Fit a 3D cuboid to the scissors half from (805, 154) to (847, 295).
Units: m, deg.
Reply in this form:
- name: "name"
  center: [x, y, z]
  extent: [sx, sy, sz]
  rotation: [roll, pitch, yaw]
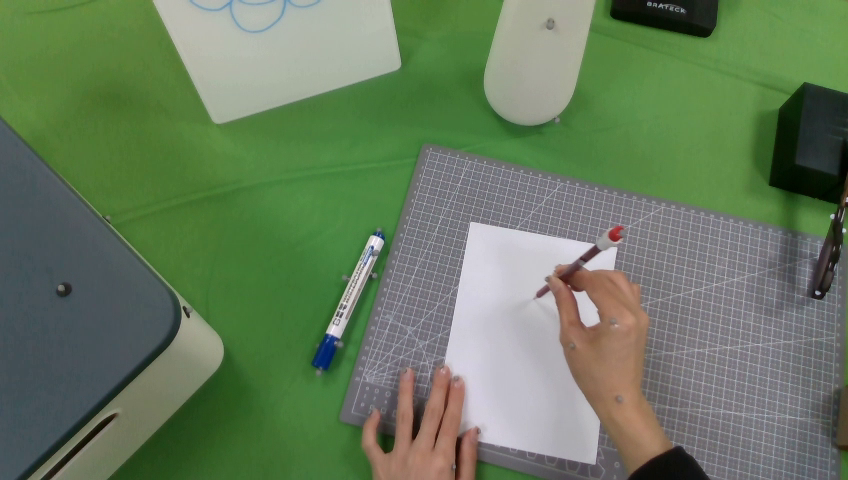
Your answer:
- name: "scissors half"
  center: [0.400, -0.031, 0.593]
  extent: [0.012, 0.040, 0.175]
  rotation: [15, 90, 29]

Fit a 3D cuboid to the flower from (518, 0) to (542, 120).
- name: "flower"
  center: [0.104, -0.243, 0.511]
  extent: [0.044, 0.365, 0.038]
  rotation: [7, 53, 6]

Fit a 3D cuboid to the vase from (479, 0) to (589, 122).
- name: "vase"
  center: [0.107, -0.201, 0.585]
  extent: [0.098, 0.201, 0.097]
  rotation: [0, 69, 1]

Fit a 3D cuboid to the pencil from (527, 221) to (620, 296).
- name: "pencil"
  center: [0.116, 0.022, 0.504]
  extent: [0.012, 0.195, 0.012]
  rotation: [3, 70, -8]

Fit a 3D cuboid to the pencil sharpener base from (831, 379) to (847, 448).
- name: "pencil sharpener base"
  center: [0.416, 0.153, 0.512]
  extent: [0.076, 0.107, 0.061]
  rotation: [18, 71, 3]

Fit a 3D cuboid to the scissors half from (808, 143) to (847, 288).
- name: "scissors half"
  center: [0.392, -0.036, 0.575]
  extent: [0.013, 0.040, 0.174]
  rotation: [16, 72, 24]

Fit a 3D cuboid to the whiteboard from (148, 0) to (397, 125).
- name: "whiteboard"
  center: [-0.169, -0.304, 0.593]
  extent: [0.217, 0.308, 0.142]
  rotation: [-19, 52, -7]

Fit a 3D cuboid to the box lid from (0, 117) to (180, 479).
- name: "box lid"
  center: [-0.387, 0.025, 0.438]
  extent: [0.370, 0.015, 0.263]
  rotation: [40, 74, 12]

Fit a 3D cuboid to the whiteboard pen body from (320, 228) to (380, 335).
- name: "whiteboard pen body"
  center: [-0.075, 0.050, 0.589]
  extent: [0.017, 0.017, 0.140]
  rotation: [21, 70, 7]

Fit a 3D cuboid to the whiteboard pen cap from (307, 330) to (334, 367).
- name: "whiteboard pen cap"
  center: [-0.096, 0.101, 0.568]
  extent: [0.018, 0.018, 0.033]
  rotation: [20, 67, 7]

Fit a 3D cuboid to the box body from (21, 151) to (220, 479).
- name: "box body"
  center: [-0.386, 0.052, 0.508]
  extent: [0.362, 0.161, 0.254]
  rotation: [40, 75, 12]
